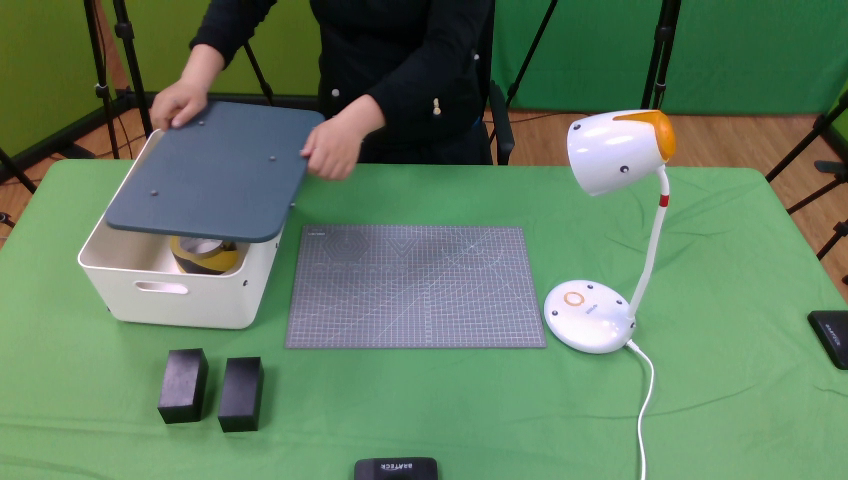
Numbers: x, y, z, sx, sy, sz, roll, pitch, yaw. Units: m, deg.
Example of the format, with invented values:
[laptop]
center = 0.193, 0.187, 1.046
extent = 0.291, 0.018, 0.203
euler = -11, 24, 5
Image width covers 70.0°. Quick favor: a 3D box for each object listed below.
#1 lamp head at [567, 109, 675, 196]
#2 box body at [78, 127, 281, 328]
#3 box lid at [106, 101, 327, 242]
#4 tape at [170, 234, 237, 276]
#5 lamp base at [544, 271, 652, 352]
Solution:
[lamp head]
center = 0.272, -0.123, 0.818
extent = 0.122, 0.113, 0.112
euler = -9, 35, 37
[box body]
center = -0.400, -0.026, 1.095
extent = 0.254, 0.161, 0.362
euler = 4, 46, 0
[box lid]
center = -0.325, -0.128, 1.006
extent = 0.263, 0.015, 0.369
euler = 5, 42, 3
[tape]
center = -0.408, 0.014, 1.124
extent = 0.117, 0.053, 0.116
euler = 2, 46, -2
[lamp base]
center = 0.310, 0.086, 1.029
extent = 0.178, 0.181, 0.160
euler = 32, 52, 21
